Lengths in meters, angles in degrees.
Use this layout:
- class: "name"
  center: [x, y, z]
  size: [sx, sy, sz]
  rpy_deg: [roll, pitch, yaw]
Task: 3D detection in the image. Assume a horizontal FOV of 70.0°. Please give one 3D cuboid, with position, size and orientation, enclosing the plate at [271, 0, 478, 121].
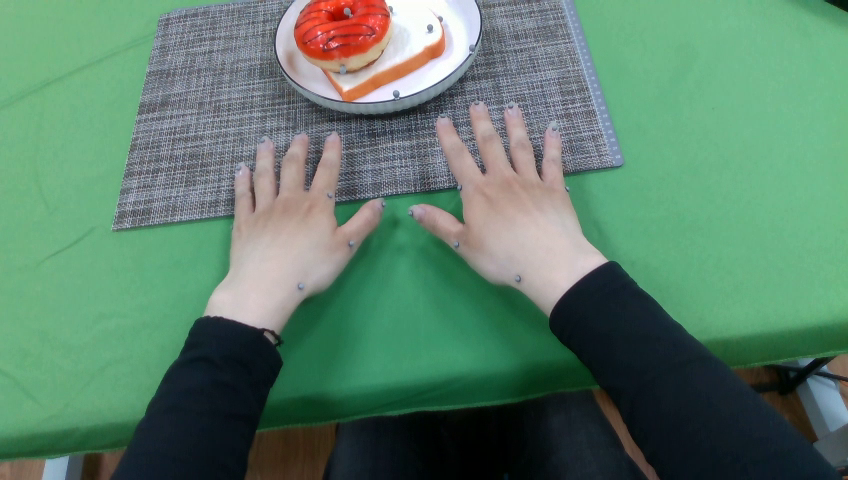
- class: "plate"
  center: [-0.049, -0.194, 0.617]
  size: [0.207, 0.039, 0.205]
  rpy_deg: [-2, 58, 4]

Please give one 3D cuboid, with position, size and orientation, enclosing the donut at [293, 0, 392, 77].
- class: "donut"
  center: [-0.080, -0.202, 0.591]
  size: [0.099, 0.049, 0.098]
  rpy_deg: [-4, 59, 7]

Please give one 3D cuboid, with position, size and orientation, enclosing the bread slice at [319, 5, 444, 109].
- class: "bread slice"
  center: [-0.048, -0.197, 0.621]
  size: [0.131, 0.019, 0.104]
  rpy_deg: [-29, 60, -11]
